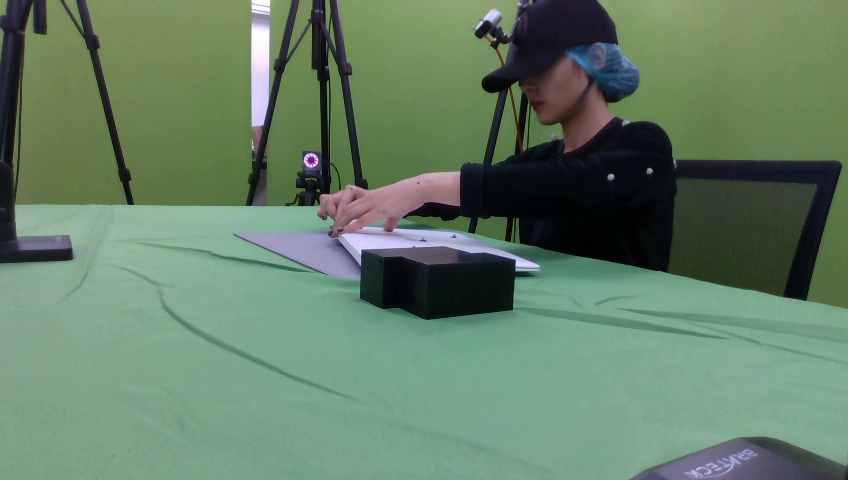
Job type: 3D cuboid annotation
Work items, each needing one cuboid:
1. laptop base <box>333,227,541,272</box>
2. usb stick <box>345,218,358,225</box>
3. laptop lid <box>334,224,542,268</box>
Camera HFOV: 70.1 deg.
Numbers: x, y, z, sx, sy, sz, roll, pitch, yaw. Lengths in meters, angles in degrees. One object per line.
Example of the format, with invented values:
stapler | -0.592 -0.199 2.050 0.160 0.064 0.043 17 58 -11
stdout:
laptop base | -0.004 0.015 0.904 0.236 0.023 0.353 5 6 -15
usb stick | -0.128 -0.025 1.071 0.021 0.027 0.059 3 8 -10
laptop lid | -0.001 0.004 0.903 0.242 0.013 0.355 4 7 -13
